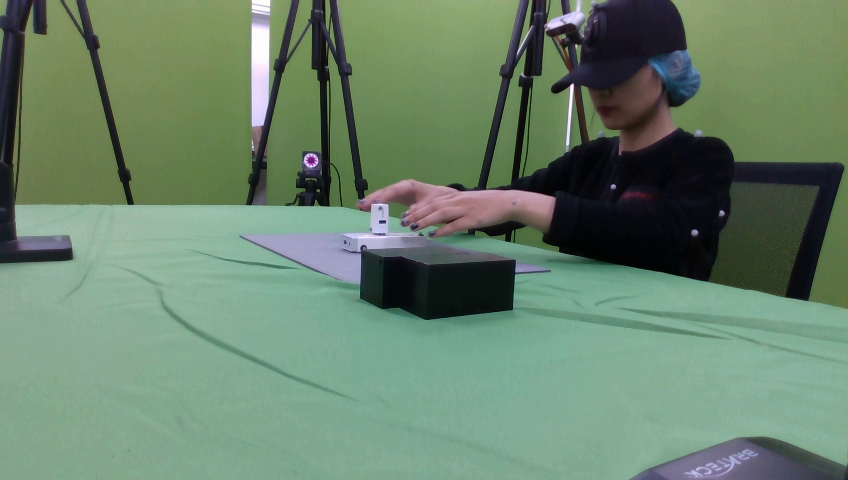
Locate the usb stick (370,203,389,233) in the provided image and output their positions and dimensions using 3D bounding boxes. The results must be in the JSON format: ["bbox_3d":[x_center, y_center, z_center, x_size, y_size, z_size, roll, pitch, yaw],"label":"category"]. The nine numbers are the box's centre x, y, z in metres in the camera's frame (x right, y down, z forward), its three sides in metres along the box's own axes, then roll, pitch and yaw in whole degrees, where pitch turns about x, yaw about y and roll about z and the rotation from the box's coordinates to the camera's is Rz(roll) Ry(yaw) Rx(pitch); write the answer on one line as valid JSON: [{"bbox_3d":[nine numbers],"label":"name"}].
[{"bbox_3d":[-0.068,-0.027,0.926,0.021,0.059,0.027,-2,11,-30],"label":"usb stick"}]

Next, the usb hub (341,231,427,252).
[{"bbox_3d":[-0.061,0.002,0.930,0.126,0.025,0.049,-2,9,-28],"label":"usb hub"}]
